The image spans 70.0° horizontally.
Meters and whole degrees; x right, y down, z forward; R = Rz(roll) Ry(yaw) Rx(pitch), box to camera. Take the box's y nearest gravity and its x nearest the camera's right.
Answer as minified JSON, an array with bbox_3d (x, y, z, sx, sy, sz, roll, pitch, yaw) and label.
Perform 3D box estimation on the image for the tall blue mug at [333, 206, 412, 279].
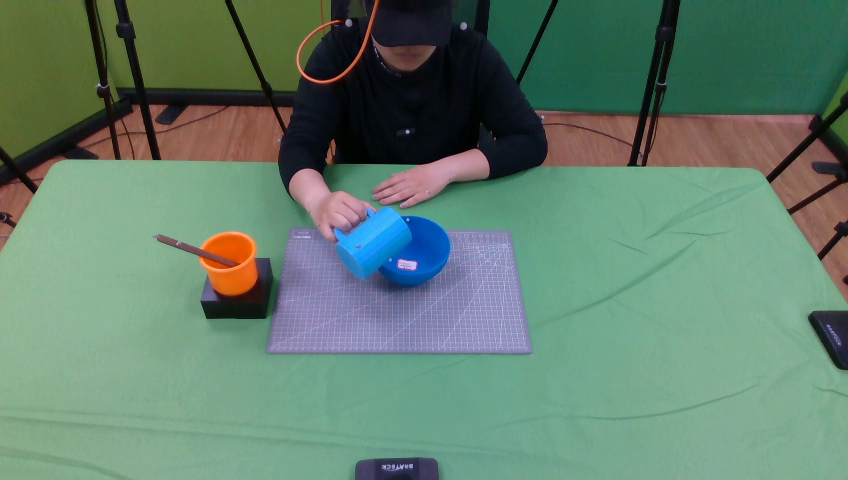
[{"bbox_3d":[-0.095,-0.008,1.020,0.108,0.078,0.107,-40,96,-20],"label":"tall blue mug"}]

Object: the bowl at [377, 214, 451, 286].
[{"bbox_3d":[-0.028,0.032,1.122,0.151,0.077,0.150,2,46,-2],"label":"bowl"}]

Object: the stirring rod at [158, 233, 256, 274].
[{"bbox_3d":[-0.353,0.024,1.000,0.177,0.006,0.014,26,32,-41],"label":"stirring rod"}]
